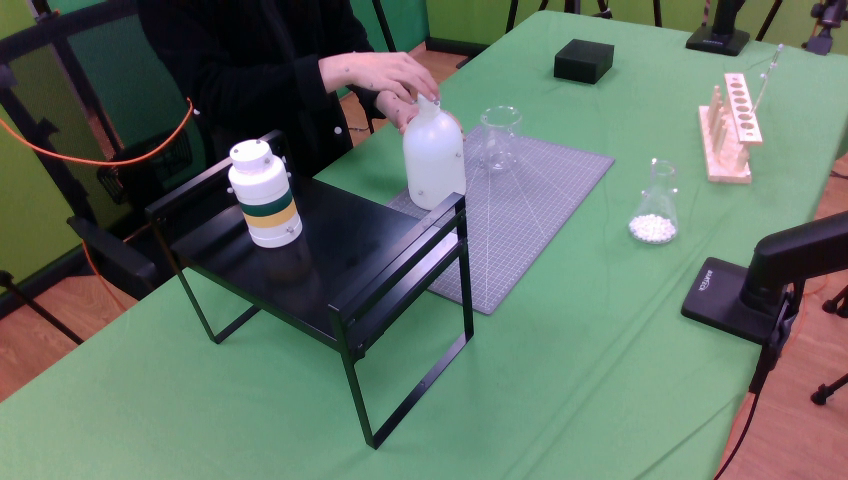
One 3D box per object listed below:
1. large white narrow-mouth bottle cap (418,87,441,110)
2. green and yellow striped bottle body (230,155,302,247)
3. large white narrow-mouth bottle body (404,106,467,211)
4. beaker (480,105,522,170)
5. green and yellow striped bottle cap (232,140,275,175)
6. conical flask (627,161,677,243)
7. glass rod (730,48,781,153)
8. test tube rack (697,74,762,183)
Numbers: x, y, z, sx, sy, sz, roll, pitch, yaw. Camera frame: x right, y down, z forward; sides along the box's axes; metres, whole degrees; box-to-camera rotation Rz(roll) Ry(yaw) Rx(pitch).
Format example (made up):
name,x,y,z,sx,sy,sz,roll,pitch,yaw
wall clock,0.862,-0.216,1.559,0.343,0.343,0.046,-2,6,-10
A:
name,x,y,z,sx,sy,sz,roll,pitch,yaw
large white narrow-mouth bottle cap,0.008,-0.224,0.959,0.038,0.024,0.037,-4,39,4
green and yellow striped bottle body,-0.188,-0.055,0.714,0.063,0.120,0.063,-4,41,4
large white narrow-mouth bottle body,0.017,-0.152,1.017,0.102,0.195,0.101,-4,39,4
beaker,0.145,-0.187,1.111,0.084,0.101,0.073,-35,48,-29
green and yellow striped bottle cap,-0.192,-0.093,0.680,0.045,0.020,0.045,-5,39,5
conical flask,0.355,-0.061,0.921,0.075,0.122,0.075,-4,41,4
glass rod,0.554,-0.228,1.015,0.008,0.200,0.008,1,44,-1
test tube rack,0.547,-0.208,1.095,0.066,0.085,0.242,5,42,15
